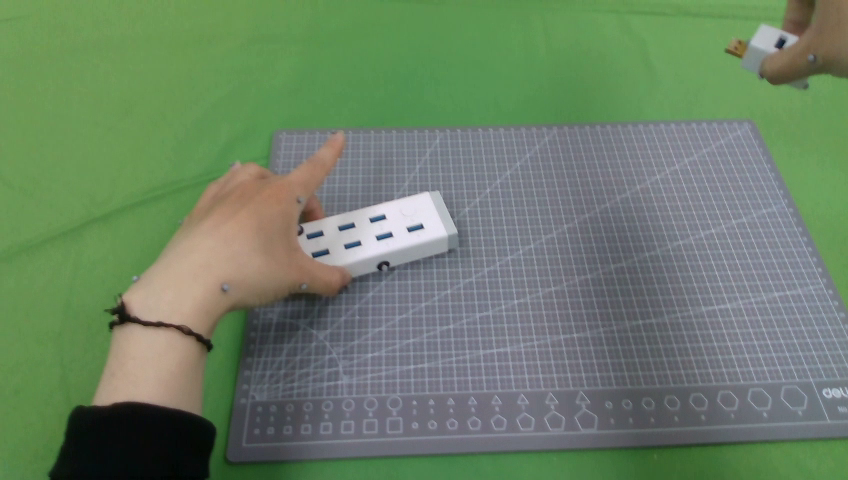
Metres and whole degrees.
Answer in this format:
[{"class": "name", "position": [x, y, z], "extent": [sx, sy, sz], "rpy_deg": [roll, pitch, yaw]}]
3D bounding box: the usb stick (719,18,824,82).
[{"class": "usb stick", "position": [0.232, -0.130, 0.408], "extent": [0.059, 0.027, 0.021], "rpy_deg": [27, 75, 21]}]

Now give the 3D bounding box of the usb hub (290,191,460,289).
[{"class": "usb hub", "position": [-0.038, -0.002, 0.476], "extent": [0.125, 0.025, 0.049], "rpy_deg": [-14, 57, -12]}]
